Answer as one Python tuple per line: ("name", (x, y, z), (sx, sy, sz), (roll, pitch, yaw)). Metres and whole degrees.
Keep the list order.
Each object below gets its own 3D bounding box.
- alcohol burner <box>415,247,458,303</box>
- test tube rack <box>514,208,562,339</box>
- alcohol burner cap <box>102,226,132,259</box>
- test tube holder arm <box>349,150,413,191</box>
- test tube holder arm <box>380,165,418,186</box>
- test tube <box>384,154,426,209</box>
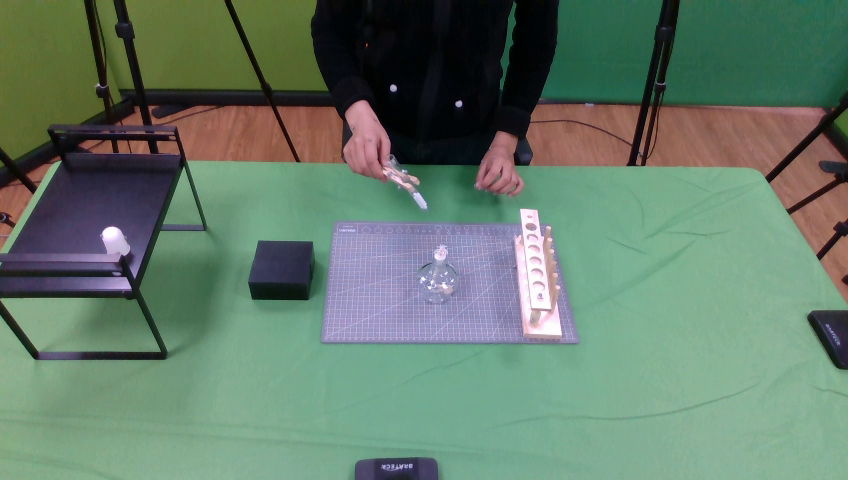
("alcohol burner", (0.024, 0.057, 1.078), (0.078, 0.119, 0.077), (3, 44, -3))
("test tube rack", (0.212, 0.056, 1.113), (0.067, 0.085, 0.241), (3, 46, -1))
("alcohol burner cap", (-0.457, 0.001, 0.897), (0.034, 0.048, 0.033), (2, 46, -1))
("test tube holder arm", (-0.081, -0.127, 1.092), (0.177, 0.015, 0.013), (32, 73, 39))
("test tube holder arm", (-0.046, -0.114, 1.066), (0.087, 0.015, 0.010), (22, 68, 36))
("test tube", (-0.030, -0.099, 1.056), (0.017, 0.151, 0.017), (-13, 54, 19))
